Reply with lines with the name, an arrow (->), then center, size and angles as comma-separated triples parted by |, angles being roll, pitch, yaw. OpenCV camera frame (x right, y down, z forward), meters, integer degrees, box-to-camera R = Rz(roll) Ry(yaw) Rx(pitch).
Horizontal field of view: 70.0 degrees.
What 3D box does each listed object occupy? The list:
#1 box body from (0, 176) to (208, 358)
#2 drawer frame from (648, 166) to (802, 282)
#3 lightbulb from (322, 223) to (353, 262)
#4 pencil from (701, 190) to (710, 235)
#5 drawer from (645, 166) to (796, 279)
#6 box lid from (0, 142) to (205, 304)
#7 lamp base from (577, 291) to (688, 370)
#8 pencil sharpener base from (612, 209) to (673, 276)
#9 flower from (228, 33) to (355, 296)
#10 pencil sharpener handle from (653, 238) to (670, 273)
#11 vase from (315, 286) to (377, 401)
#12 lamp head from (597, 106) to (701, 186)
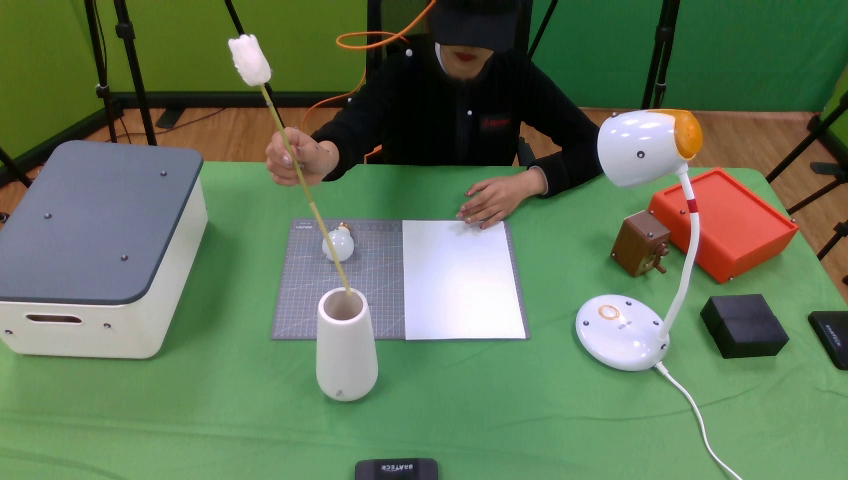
box body -> -0.546, 0.017, 1.045 | 0.254, 0.161, 0.361 | 2, 46, -2
drawer frame -> 0.603, -0.040, 1.233 | 0.202, 0.083, 0.212 | -21, 51, -23
lightbulb -> -0.163, -0.001, 1.164 | 0.059, 0.060, 0.107 | 4, 30, 0
pencil -> 0.584, -0.058, 1.256 | 0.012, 0.012, 0.193 | 16, 35, 12
drawer -> 0.600, -0.041, 1.236 | 0.195, 0.073, 0.210 | -21, 51, -23
box lid -> -0.533, -0.044, 0.995 | 0.263, 0.015, 0.369 | 3, 45, -3
lamp base -> 0.361, 0.110, 1.003 | 0.160, 0.181, 0.178 | -31, 57, -29
pencil sharpener base -> 0.417, 0.007, 1.158 | 0.061, 0.107, 0.076 | -21, 51, -22
flower -> -0.160, -0.086, 0.782 | 0.038, 0.363, 0.044 | -25, 17, -12
pencil sharpener handle -> 0.444, 0.030, 1.120 | 0.036, 0.068, 0.030 | -25, 52, -18
vase -> -0.119, 0.159, 0.911 | 0.098, 0.201, 0.097 | 2, 47, -2
lamp head -> 0.329, -0.138, 0.865 | 0.112, 0.113, 0.122 | -36, 20, -32
